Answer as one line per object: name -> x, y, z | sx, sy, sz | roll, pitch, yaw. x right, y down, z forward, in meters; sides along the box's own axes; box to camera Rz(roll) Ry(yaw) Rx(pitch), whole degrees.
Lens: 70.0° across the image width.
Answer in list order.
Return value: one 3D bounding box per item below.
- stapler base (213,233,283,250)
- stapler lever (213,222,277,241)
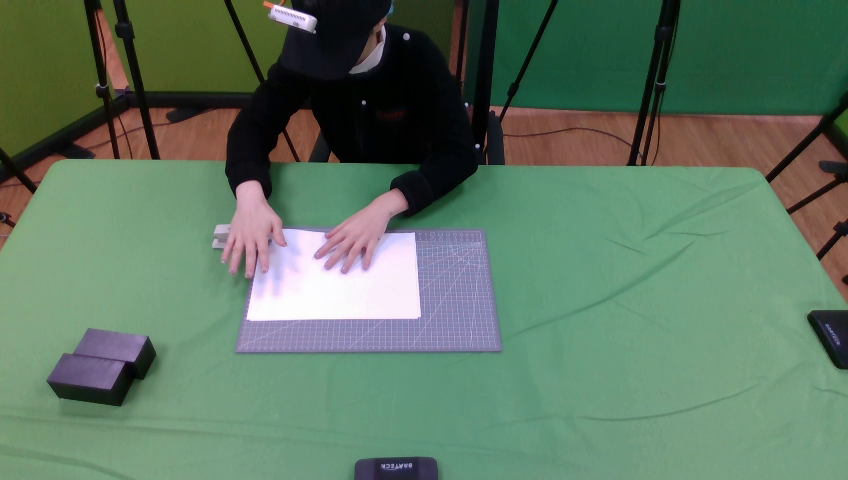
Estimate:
stapler base -> -0.341, -0.005, 1.170 | 0.130, 0.024, 0.041 | 0, 44, 0
stapler lever -> -0.341, -0.018, 1.156 | 0.118, 0.040, 0.026 | 5, 44, -4
